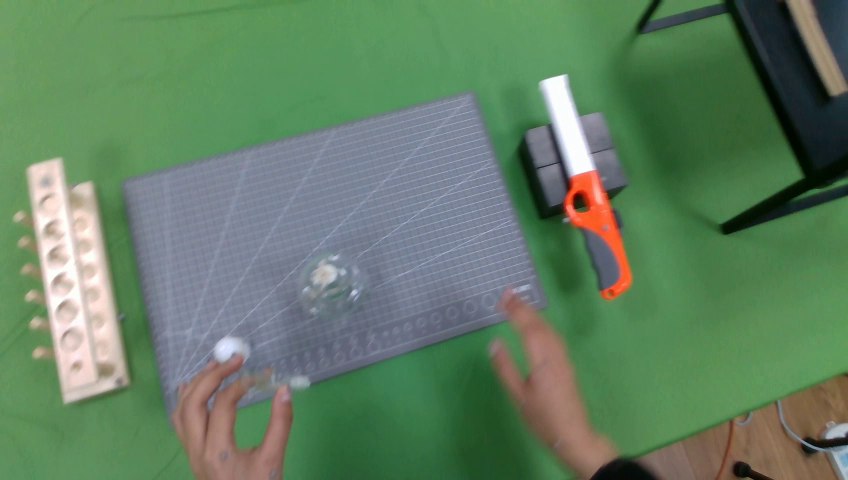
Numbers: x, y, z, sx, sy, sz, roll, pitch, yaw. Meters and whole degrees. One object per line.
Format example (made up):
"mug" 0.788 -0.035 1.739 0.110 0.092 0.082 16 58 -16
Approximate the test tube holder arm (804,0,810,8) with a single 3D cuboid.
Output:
"test tube holder arm" 0.384 -0.281 0.642 0.010 0.015 0.087 -6 74 -37

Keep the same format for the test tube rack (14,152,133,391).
"test tube rack" -0.391 0.037 0.659 0.067 0.085 0.241 -16 78 -7

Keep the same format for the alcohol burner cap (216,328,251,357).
"alcohol burner cap" -0.214 0.112 0.673 0.034 0.048 0.033 1 76 -4

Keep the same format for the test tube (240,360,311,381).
"test tube" -0.128 0.118 0.542 0.017 0.151 0.017 -1 77 6

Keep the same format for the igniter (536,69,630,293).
"igniter" 0.186 -0.073 0.711 0.057 0.025 0.275 -15 77 -1

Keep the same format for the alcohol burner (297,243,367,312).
"alcohol burner" -0.102 0.038 0.663 0.078 0.119 0.077 1 78 -3

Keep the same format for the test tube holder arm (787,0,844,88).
"test tube holder arm" 0.392 -0.238 0.629 0.013 0.015 0.177 -7 74 -37
